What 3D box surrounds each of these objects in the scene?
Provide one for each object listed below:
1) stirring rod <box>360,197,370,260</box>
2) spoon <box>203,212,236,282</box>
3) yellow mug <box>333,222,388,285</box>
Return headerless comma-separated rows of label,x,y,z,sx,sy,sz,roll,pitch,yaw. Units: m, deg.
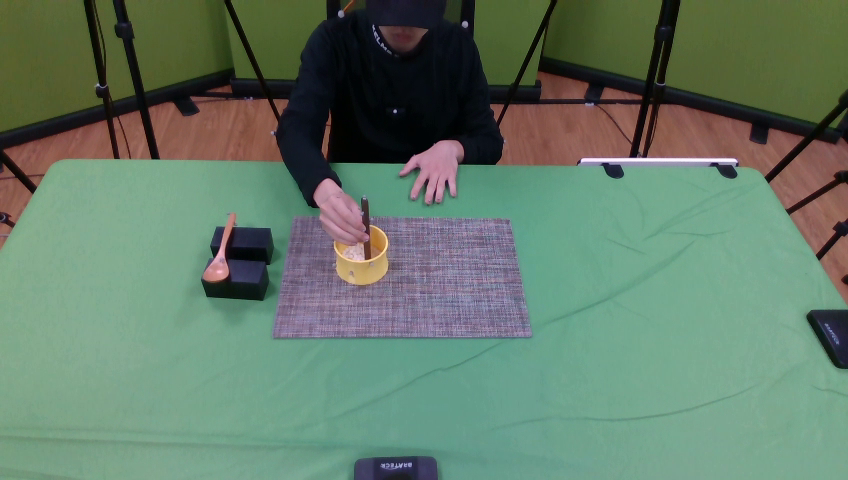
stirring rod,-0.103,-0.007,1.076,0.014,0.177,0.006,22,47,20
spoon,-0.361,0.009,1.097,0.041,0.022,0.192,0,44,-3
yellow mug,-0.126,0.015,1.139,0.100,0.064,0.130,-24,51,-24
